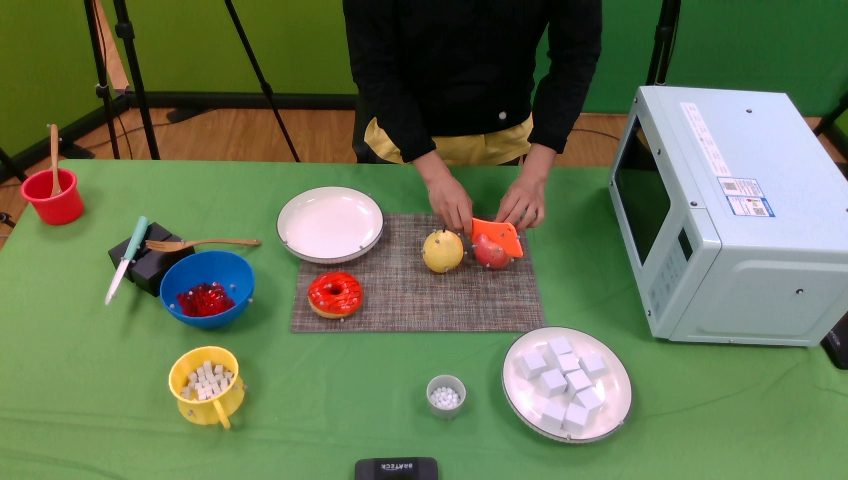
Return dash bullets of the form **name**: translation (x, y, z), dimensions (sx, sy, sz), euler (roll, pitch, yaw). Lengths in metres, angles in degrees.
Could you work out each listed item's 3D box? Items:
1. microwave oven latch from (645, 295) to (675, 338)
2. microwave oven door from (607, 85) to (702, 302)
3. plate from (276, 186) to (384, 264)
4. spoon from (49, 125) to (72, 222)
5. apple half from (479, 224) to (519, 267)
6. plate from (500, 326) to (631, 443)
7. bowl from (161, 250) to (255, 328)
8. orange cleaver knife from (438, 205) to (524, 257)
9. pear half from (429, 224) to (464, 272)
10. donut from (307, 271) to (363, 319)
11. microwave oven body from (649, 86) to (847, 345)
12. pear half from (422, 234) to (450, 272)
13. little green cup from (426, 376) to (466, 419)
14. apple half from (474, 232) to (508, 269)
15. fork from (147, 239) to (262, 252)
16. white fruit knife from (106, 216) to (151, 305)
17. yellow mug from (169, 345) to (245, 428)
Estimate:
- **microwave oven latch**: translation (0.412, 0.134, 1.061), dimensions (0.030, 0.029, 0.078), euler (3, 45, 0)
- **microwave oven door**: translation (0.423, -0.094, 1.140), dimensions (0.039, 0.245, 0.353), euler (2, 46, -1)
- **plate**: translation (-0.184, -0.027, 1.195), dimensions (0.209, 0.038, 0.208), euler (2, 46, -2)
- **spoon**: translation (-0.717, -0.131, 1.189), dimensions (0.041, 0.021, 0.193), euler (-3, 90, -7)
- **apple half**: translation (0.150, 0.007, 1.160), dimensions (0.053, 0.075, 0.080), euler (-29, 49, -30)
- **plate**: translation (0.224, 0.234, 0.978), dimensions (0.208, 0.039, 0.206), euler (2, 46, -2)
- **bowl**: translation (-0.362, 0.097, 1.040), dimensions (0.151, 0.077, 0.150), euler (2, 45, -2)
- **orange cleaver knife**: translation (0.104, -0.019, 1.146), dimensions (0.012, 0.077, 0.210), euler (-33, 35, -31)
- **pear half**: translation (0.046, 0.005, 1.131), dimensions (0.056, 0.110, 0.076), euler (-32, 60, -29)
- **donut**: translation (-0.157, 0.097, 1.073), dimensions (0.099, 0.048, 0.098), euler (4, 45, -4)
- **microwave oven body**: translation (0.568, -0.053, 1.118), dimensions (0.326, 0.261, 0.439), euler (2, 45, -1)
- **pear half**: translation (0.018, 0.027, 1.122), dimensions (0.031, 0.088, 0.070), euler (-32, 61, -30)
- **little green cup**: translation (0.033, 0.248, 0.950), dimensions (0.061, 0.039, 0.061), euler (2, 46, -2)
- **apple half**: translation (0.118, 0.029, 1.138), dimensions (0.081, 0.082, 0.033), euler (36, 57, 27)
- **fork**: translation (-0.399, 0.007, 1.118), dimensions (0.208, 0.019, 0.028), euler (-4, 34, -37)
- **white fruit knife**: translation (-0.519, 0.032, 1.066), dimensions (0.027, 0.016, 0.206), euler (-18, 45, 19)
- **yellow mug**: translation (-0.322, 0.230, 0.922), dimensions (0.100, 0.064, 0.130), euler (-24, 53, -25)
